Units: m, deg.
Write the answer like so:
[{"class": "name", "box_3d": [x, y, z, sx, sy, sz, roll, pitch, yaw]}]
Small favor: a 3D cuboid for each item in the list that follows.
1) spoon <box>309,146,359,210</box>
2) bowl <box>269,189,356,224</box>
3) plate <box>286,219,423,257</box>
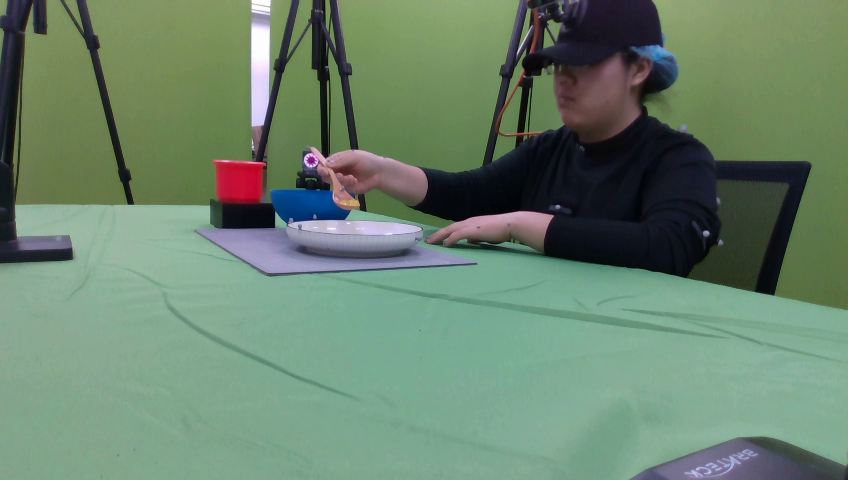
[{"class": "spoon", "box_3d": [-0.154, -0.106, 1.003, 0.042, 0.021, 0.193, -1, 42, -32]}, {"class": "bowl", "box_3d": [-0.199, -0.049, 1.080, 0.151, 0.077, 0.151, 3, 7, 0]}, {"class": "plate", "box_3d": [-0.105, -0.004, 0.922, 0.208, 0.039, 0.207, 3, 7, 0]}]
